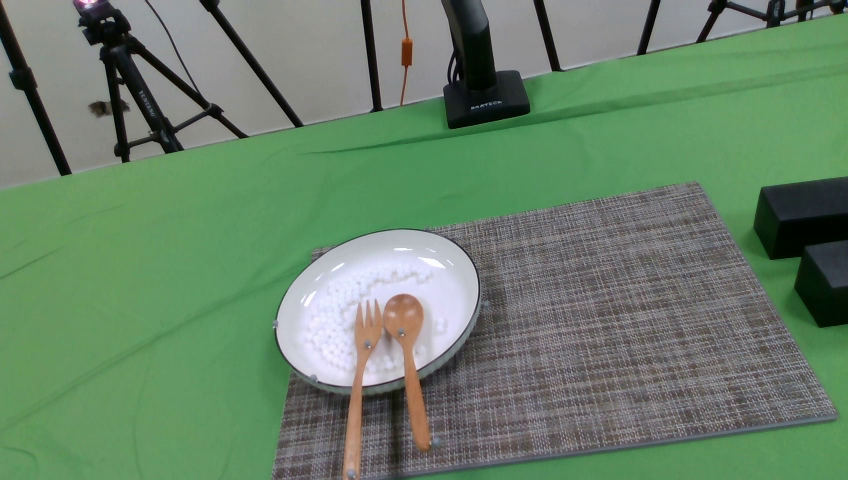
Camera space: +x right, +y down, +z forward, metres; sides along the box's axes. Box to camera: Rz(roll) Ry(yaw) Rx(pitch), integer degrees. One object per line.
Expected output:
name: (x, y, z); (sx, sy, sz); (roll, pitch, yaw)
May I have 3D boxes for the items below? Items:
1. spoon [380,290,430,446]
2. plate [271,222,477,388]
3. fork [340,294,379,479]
spoon: (-0.015, 0.103, 0.530); (0.041, 0.022, 0.192); (-11, 27, -1)
plate: (-0.047, 0.064, 0.606); (0.207, 0.039, 0.205); (-8, 42, 8)
fork: (-0.057, 0.119, 0.526); (0.028, 0.019, 0.205); (-7, 34, 5)
